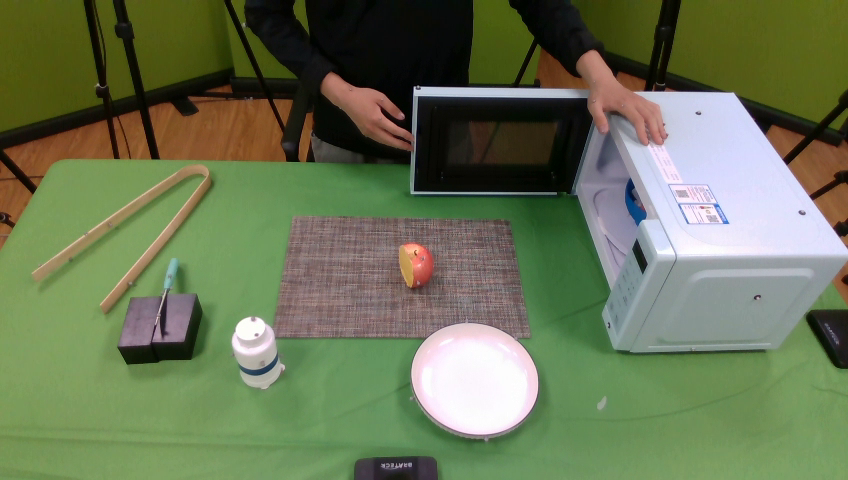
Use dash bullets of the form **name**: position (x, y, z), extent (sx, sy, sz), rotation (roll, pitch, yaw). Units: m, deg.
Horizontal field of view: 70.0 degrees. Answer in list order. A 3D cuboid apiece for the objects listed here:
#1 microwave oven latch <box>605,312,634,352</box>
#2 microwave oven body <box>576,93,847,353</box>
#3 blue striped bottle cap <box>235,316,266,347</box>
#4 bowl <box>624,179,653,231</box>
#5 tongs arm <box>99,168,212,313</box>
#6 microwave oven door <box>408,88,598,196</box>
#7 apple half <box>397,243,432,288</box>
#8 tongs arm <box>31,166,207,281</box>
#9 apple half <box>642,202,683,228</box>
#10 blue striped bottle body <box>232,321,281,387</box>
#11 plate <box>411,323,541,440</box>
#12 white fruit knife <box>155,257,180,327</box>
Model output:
- **microwave oven latch**: position (0.334, 0.154, 1.043), extent (0.030, 0.029, 0.078), rotation (3, 45, 0)
- **microwave oven body**: position (0.475, -0.041, 1.110), extent (0.326, 0.261, 0.438), rotation (-1, 45, -4)
- **blue striped bottle cap**: position (-0.260, 0.137, 0.907), extent (0.044, 0.021, 0.044), rotation (3, 43, -2)
- **bowl**: position (0.453, -0.048, 1.170), extent (0.151, 0.077, 0.150), rotation (7, 35, -5)
- **tongs arm**: position (-0.504, -0.012, 1.167), extent (0.028, 0.028, 0.385), rotation (11, 46, 11)
- **microwave oven door**: position (0.149, -0.194, 1.226), extent (0.356, 0.245, 0.039), rotation (0, 45, -5)
- **apple half**: position (-0.013, 0.047, 1.115), extent (0.053, 0.075, 0.080), rotation (-10, 43, -21)
- **tongs arm**: position (-0.578, -0.040, 1.185), extent (0.050, 0.026, 0.384), rotation (23, 48, 17)
- **apple half**: position (0.459, -0.055, 1.160), extent (0.081, 0.033, 0.081), rotation (0, 31, 0)
- **blue striped bottle body**: position (-0.262, 0.171, 0.944), extent (0.063, 0.121, 0.062), rotation (2, 46, -2)
- **plate**: position (0.082, 0.228, 0.976), extent (0.208, 0.039, 0.206), rotation (2, 45, -2)
- **white fruit knife**: position (-0.440, 0.085, 1.037), extent (0.016, 0.027, 0.206), rotation (10, 26, -19)
